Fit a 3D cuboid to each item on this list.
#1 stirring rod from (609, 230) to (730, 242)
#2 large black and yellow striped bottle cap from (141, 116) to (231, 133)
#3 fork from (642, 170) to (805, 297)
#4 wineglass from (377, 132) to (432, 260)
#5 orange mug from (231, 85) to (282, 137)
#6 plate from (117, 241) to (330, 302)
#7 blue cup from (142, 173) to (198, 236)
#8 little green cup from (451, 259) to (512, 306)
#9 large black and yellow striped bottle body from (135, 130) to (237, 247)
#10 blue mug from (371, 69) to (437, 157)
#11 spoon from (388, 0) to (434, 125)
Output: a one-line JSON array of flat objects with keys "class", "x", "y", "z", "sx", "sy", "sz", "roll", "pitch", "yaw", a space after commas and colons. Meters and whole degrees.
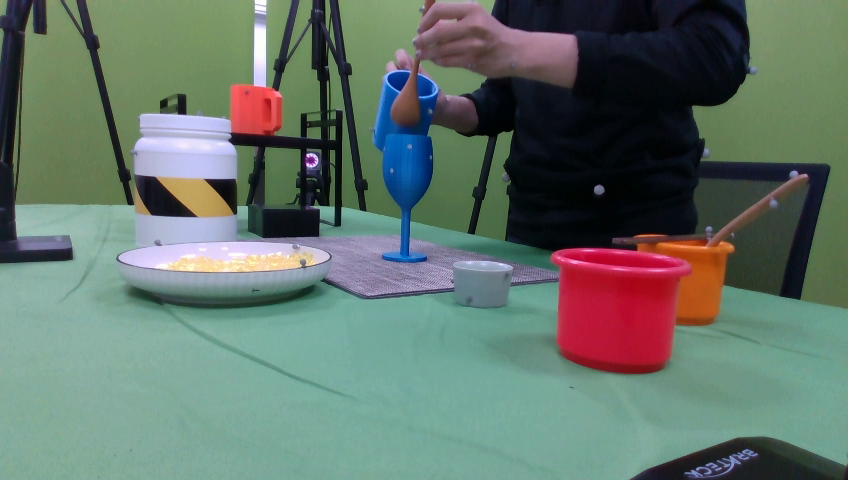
[{"class": "stirring rod", "x": 0.241, "y": -0.005, "z": 0.582, "sx": 0.177, "sy": 0.006, "sz": 0.014, "roll": -3, "pitch": 10, "yaw": -33}, {"class": "large black and yellow striped bottle cap", "x": -0.324, "y": -0.157, "z": 0.826, "sx": 0.115, "sy": 0.019, "sz": 0.115, "roll": 1, "pitch": 7, "yaw": 0}, {"class": "fork", "x": 0.261, "y": 0.004, "z": 0.545, "sx": 0.028, "sy": 0.018, "sz": 0.207, "roll": 5, "pitch": -37, "yaw": -15}, {"class": "wineglass", "x": -0.026, "y": -0.062, "z": 0.841, "sx": 0.074, "sy": 0.172, "sz": 0.073, "roll": 2, "pitch": 8, "yaw": 0}, {"class": "orange mug", "x": -0.335, "y": -0.261, "z": 1.225, "sx": 0.125, "sy": 0.100, "sz": 0.084, "roll": 2, "pitch": 6, "yaw": 35}, {"class": "plate", "x": -0.203, "y": 0.031, "z": 0.630, "sx": 0.209, "sy": 0.038, "sz": 0.209, "roll": 3, "pitch": 7, "yaw": 0}, {"class": "blue cup", "x": -0.425, "y": -0.060, "z": 1.014, "sx": 0.093, "sy": 0.100, "sz": 0.092, "roll": 4, "pitch": 9, "yaw": 0}, {"class": "little green cup", "x": 0.057, "y": 0.043, "z": 0.611, "sx": 0.061, "sy": 0.038, "sz": 0.061, "roll": 3, "pitch": 8, "yaw": 0}, {"class": "large black and yellow striped bottle body", "x": -0.327, "y": -0.074, "z": 0.838, "sx": 0.131, "sy": 0.184, "sz": 0.130, "roll": 2, "pitch": 7, "yaw": 0}, {"class": "blue mug", "x": -0.035, "y": -0.202, "z": 0.927, "sx": 0.082, "sy": 0.106, "sz": 0.116, "roll": 1, "pitch": 41, "yaw": -17}, {"class": "spoon", "x": -0.012, "y": -0.233, "z": 0.781, "sx": 0.041, "sy": 0.193, "sz": 0.021, "roll": 14, "pitch": 34, "yaw": -1}]
